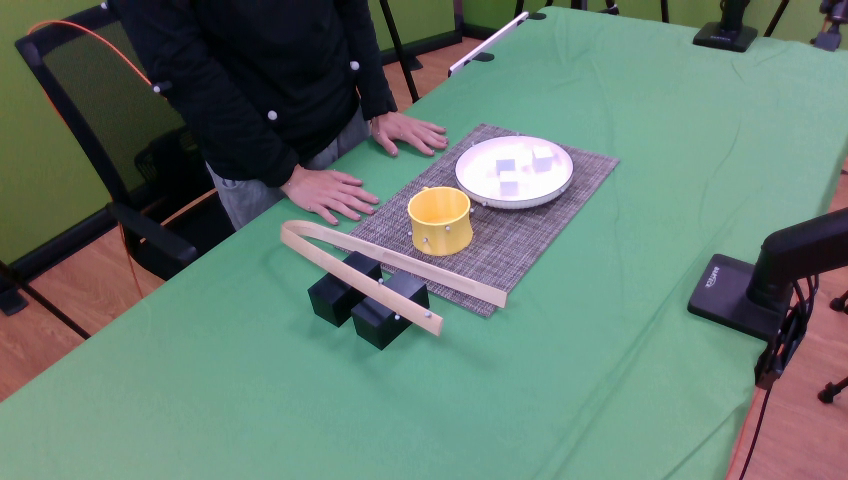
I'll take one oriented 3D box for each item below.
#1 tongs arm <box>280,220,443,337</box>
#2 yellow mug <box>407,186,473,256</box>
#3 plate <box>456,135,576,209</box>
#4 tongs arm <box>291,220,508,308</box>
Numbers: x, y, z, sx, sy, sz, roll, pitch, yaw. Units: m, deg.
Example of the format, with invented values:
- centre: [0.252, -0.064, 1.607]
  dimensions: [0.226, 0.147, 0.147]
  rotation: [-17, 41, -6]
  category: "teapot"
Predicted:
- centre: [-0.101, 0.043, 0.861]
  dimensions: [0.381, 0.026, 0.051]
  rotation: [24, 24, 38]
  category: "tongs arm"
- centre: [0.021, -0.041, 0.973]
  dimensions: [0.100, 0.064, 0.129]
  rotation: [-19, 41, -12]
  category: "yellow mug"
- centre: [0.161, -0.116, 1.064]
  dimensions: [0.207, 0.039, 0.206]
  rotation: [-4, 40, 4]
  category: "plate"
- centre: [-0.049, 0.031, 0.924]
  dimensions: [0.385, 0.028, 0.028]
  rotation: [18, 25, 26]
  category: "tongs arm"
